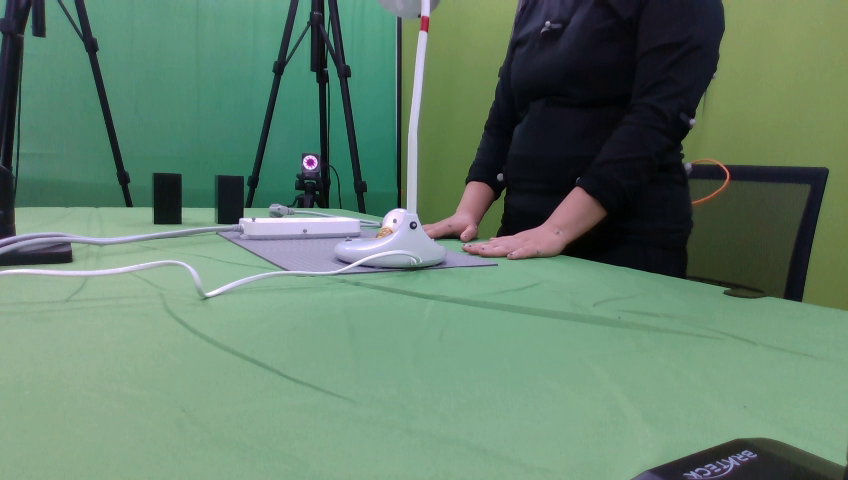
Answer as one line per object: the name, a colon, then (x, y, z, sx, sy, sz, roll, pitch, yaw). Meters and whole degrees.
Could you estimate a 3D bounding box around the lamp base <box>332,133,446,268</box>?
lamp base: (-0.038, -0.058, 0.833, 0.161, 0.180, 0.178, -2, 11, -32)

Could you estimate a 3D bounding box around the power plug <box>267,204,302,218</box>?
power plug: (-0.327, -0.059, 1.403, 0.073, 0.035, 0.052, 24, -16, -25)

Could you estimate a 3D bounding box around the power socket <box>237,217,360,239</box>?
power socket: (-0.221, -0.023, 1.080, 0.228, 0.032, 0.072, -2, 8, -32)

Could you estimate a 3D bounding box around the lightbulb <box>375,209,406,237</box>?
lightbulb: (-0.053, -0.016, 1.022, 0.059, 0.059, 0.108, 6, 23, 21)

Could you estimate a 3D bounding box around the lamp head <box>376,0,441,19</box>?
lamp head: (-0.012, -0.373, 0.822, 0.113, 0.112, 0.122, 1, 0, -14)
